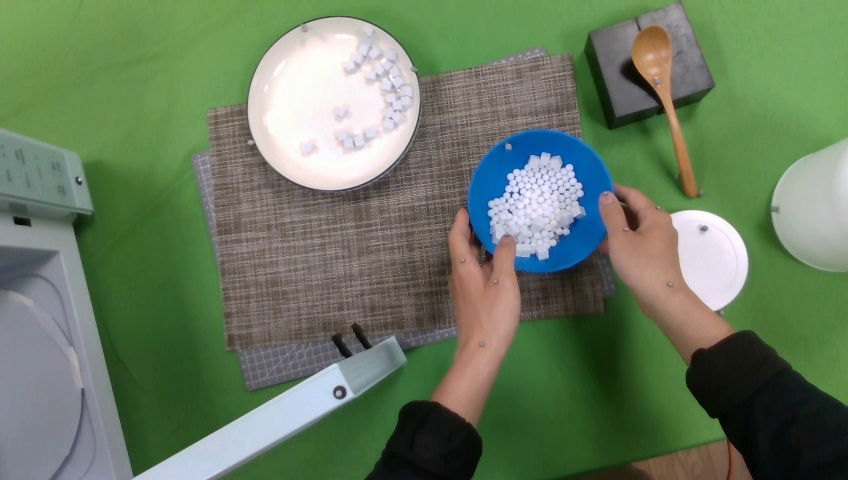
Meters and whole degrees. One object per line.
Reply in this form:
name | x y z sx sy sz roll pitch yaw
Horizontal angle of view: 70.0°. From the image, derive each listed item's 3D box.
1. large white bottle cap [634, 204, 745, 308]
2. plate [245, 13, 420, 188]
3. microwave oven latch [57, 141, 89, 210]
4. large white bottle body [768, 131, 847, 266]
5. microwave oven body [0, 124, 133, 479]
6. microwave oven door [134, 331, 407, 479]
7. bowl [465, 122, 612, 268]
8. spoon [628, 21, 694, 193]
large white bottle cap | 0.292 0.018 0.667 0.115 0.018 0.114 0 87 6
plate | -0.105 -0.161 0.714 0.209 0.038 0.208 -1 85 8
microwave oven latch | -0.436 -0.078 0.738 0.030 0.029 0.079 -17 85 5
large white bottle body | 0.426 -0.044 0.569 0.130 0.185 0.130 -1 86 8
microwave oven body | -0.539 0.128 0.641 0.326 0.261 0.440 -17 85 5
microwave oven door | -0.195 0.199 0.589 0.356 0.244 0.039 -31 82 5
bowl | 0.122 -0.044 0.658 0.151 0.077 0.151 -1 87 9
spoon | 0.258 -0.136 0.643 0.041 0.021 0.195 -22 106 3
